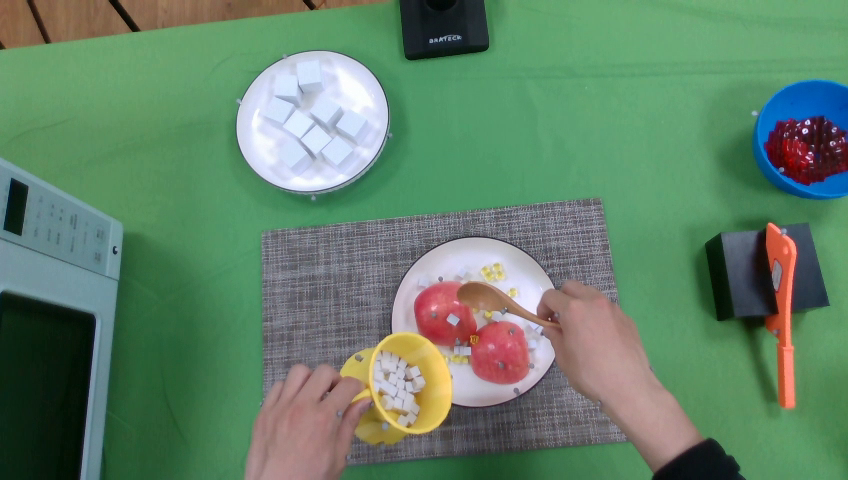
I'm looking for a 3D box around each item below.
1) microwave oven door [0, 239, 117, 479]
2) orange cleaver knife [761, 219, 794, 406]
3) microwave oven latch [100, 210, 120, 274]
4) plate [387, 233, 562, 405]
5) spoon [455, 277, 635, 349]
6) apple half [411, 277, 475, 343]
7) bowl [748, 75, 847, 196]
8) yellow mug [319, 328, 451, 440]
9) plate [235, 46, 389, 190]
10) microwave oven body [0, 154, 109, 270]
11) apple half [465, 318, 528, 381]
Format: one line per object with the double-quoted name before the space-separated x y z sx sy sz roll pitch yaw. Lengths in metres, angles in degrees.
"microwave oven door" -0.416 0.189 0.628 0.039 0.245 0.354 -3 75 4
"orange cleaver knife" 0.405 0.083 0.698 0.012 0.077 0.212 -5 99 7
"microwave oven latch" -0.411 0.003 0.780 0.030 0.029 0.079 -2 76 3
"plate" 0.060 0.095 0.739 0.209 0.038 0.208 -1 77 3
"spoon" 0.119 0.078 0.621 0.192 0.042 0.021 20 40 29
"apple half" 0.021 0.083 0.728 0.074 0.053 0.080 -8 76 4
"bowl" 0.467 -0.116 0.746 0.151 0.077 0.150 -1 76 4
"yellow mug" -0.043 0.147 0.600 0.131 0.064 0.099 -7 72 -40
"plate" -0.149 -0.162 0.822 0.207 0.039 0.206 -1 76 4
"microwave oven body" -0.562 0.156 0.652 0.326 0.261 0.439 -2 76 3
"apple half" 0.087 0.130 0.722 0.081 0.033 0.081 -1 72 4
